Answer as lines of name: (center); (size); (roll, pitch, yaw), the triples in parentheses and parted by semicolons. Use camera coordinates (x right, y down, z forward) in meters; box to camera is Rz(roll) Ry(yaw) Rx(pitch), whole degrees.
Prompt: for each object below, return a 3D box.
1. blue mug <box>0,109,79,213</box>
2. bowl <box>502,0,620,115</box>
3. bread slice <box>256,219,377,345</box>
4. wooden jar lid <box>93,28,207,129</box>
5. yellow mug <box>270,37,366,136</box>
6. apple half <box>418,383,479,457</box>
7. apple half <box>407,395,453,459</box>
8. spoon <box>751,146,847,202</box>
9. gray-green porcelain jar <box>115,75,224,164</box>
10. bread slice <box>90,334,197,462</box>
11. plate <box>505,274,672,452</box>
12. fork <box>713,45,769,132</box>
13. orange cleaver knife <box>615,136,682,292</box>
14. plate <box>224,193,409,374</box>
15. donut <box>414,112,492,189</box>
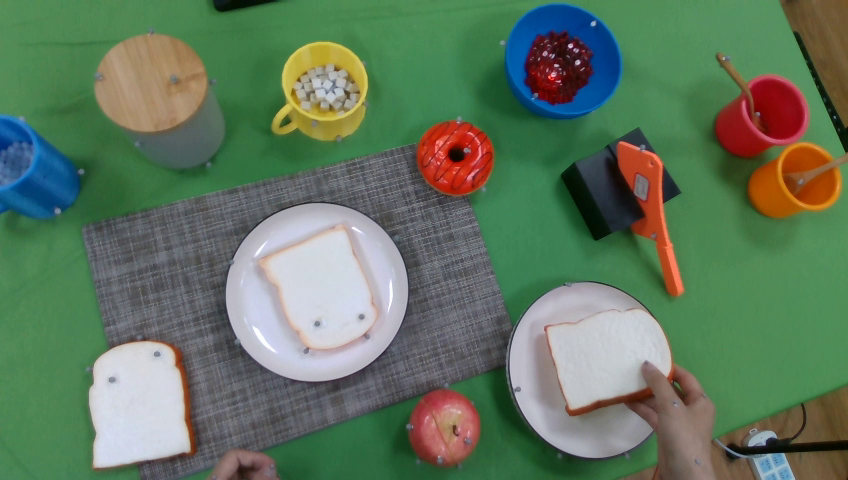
blue mug: (-0.447, -0.071, 0.648); (0.116, 0.106, 0.082); (-43, 87, -14)
bowl: (0.166, -0.224, 0.785); (0.152, 0.077, 0.150); (2, 79, -8)
bread slice: (-0.116, 0.053, 0.707); (0.107, 0.018, 0.134); (-28, 83, -12)
wooden jar lid: (-0.276, -0.162, 0.617); (0.108, 0.021, 0.108); (2, 77, -7)
yellow mug: (-0.134, -0.177, 0.737); (0.131, 0.064, 0.100); (-40, 87, -13)
apple half: (0.033, 0.197, 0.686); (0.053, 0.075, 0.080); (-25, 81, -17)
apple half: (-0.001, 0.214, 0.676); (0.033, 0.081, 0.081); (-24, 83, -17)
spoon: (0.522, -0.104, 0.779); (0.022, 0.193, 0.041); (-12, 75, -56)
gray-green porcelain jar: (-0.285, -0.149, 0.678); (0.106, 0.127, 0.105); (2, 78, -8)
bread slice: (-0.312, 0.169, 0.663); (0.105, 0.019, 0.131); (-9, 81, -11)
plate: (0.197, 0.147, 0.737); (0.209, 0.038, 0.208); (2, 79, -8)
fork: (0.411, -0.192, 0.779); (0.209, 0.018, 0.028); (27, 70, -45)
orange cleaver knife: (0.282, -0.031, 0.762); (0.012, 0.076, 0.213); (-29, 114, -18)
plate: (-0.123, 0.050, 0.705); (0.208, 0.039, 0.206); (2, 79, -8)
donut: (0.037, -0.112, 0.757); (0.099, 0.048, 0.098); (2, 80, -8)
